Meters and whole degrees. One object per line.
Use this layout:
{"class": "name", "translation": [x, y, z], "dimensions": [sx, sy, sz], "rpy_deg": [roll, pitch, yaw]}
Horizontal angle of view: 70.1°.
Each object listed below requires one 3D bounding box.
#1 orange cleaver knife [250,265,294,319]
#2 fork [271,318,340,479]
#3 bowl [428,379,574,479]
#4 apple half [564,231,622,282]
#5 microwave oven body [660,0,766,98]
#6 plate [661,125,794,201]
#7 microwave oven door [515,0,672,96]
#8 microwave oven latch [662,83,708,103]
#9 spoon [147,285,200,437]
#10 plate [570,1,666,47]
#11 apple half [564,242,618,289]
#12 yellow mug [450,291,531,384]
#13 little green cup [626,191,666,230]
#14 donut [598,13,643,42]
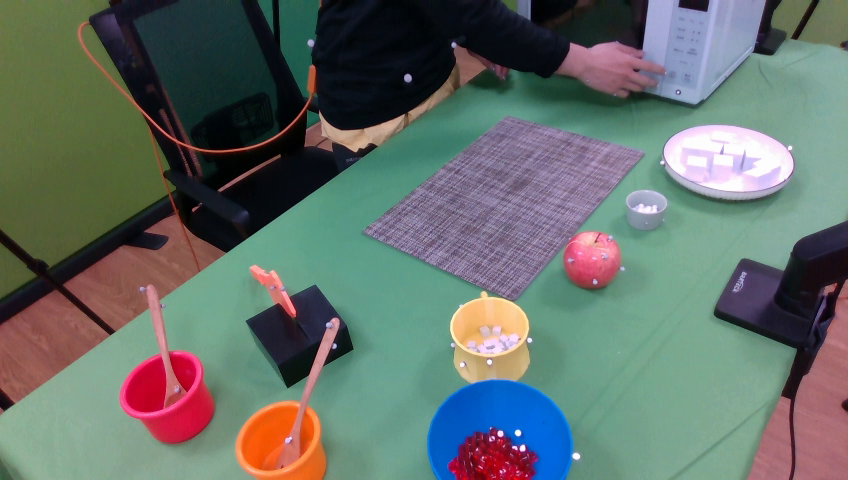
{"class": "orange cleaver knife", "translation": [-0.222, 0.073, 0.876], "dimensions": [0.012, 0.077, 0.210], "rpy_deg": [-24, 13, -22]}
{"class": "fork", "translation": [-0.132, 0.186, 0.676], "dimensions": [0.028, 0.019, 0.207], "rpy_deg": [17, 90, 28]}
{"class": "bowl", "translation": [0.082, 0.233, 0.644], "dimensions": [0.151, 0.077, 0.150], "rpy_deg": [-4, 39, 4]}
{"class": "apple half", "translation": [0.248, 0.021, 0.874], "dimensions": [0.080, 0.075, 0.053], "rpy_deg": [13, 40, 29]}
{"class": "microwave oven body", "translation": [0.472, -0.513, 1.317], "dimensions": [0.438, 0.261, 0.327], "rpy_deg": [26, 51, 34]}
{"class": "plate", "translation": [0.513, -0.128, 1.035], "dimensions": [0.207, 0.039, 0.206], "rpy_deg": [-4, 40, 4]}
{"class": "microwave oven door", "translation": [0.344, -0.455, 1.260], "dimensions": [0.353, 0.245, 0.039], "rpy_deg": [26, 51, 33]}
{"class": "microwave oven latch", "translation": [0.518, -0.297, 1.204], "dimensions": [0.078, 0.029, 0.030], "rpy_deg": [28, 52, 36]}
{"class": "spoon", "translation": [-0.319, 0.148, 0.754], "dimensions": [0.042, 0.021, 0.193], "rpy_deg": [-15, 85, -11]}
{"class": "plate", "translation": [0.437, -0.485, 1.369], "dimensions": [0.209, 0.038, 0.208], "rpy_deg": [-4, 41, 4]}
{"class": "apple half", "translation": [0.229, 0.044, 0.848], "dimensions": [0.081, 0.081, 0.033], "rpy_deg": [16, 41, 26]}
{"class": "yellow mug", "translation": [0.085, 0.120, 0.786], "dimensions": [0.100, 0.064, 0.130], "rpy_deg": [-7, 39, 1]}
{"class": "little green cup", "translation": [0.352, -0.046, 0.963], "dimensions": [0.061, 0.039, 0.061], "rpy_deg": [-4, 40, 4]}
{"class": "donut", "translation": [0.438, -0.473, 1.346], "dimensions": [0.099, 0.048, 0.098], "rpy_deg": [-18, 21, 8]}
